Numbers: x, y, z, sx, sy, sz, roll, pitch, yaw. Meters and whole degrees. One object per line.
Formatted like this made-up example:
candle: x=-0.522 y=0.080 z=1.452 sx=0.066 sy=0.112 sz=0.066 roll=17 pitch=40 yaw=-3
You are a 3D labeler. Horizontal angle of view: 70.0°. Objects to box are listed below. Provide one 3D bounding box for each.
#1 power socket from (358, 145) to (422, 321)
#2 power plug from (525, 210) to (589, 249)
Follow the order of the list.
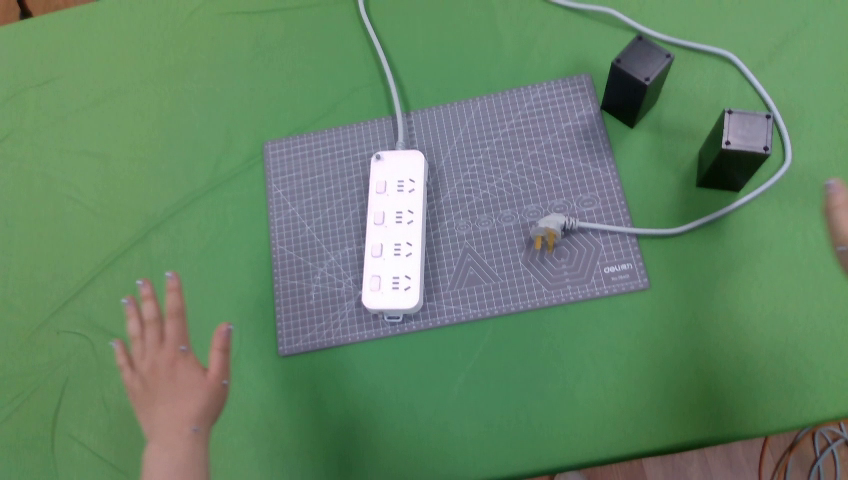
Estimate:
power socket: x=-0.041 y=-0.014 z=0.749 sx=0.072 sy=0.033 sz=0.225 roll=-1 pitch=72 yaw=7
power plug: x=0.156 y=-0.012 z=0.715 sx=0.072 sy=0.035 sz=0.052 roll=0 pitch=54 yaw=20
